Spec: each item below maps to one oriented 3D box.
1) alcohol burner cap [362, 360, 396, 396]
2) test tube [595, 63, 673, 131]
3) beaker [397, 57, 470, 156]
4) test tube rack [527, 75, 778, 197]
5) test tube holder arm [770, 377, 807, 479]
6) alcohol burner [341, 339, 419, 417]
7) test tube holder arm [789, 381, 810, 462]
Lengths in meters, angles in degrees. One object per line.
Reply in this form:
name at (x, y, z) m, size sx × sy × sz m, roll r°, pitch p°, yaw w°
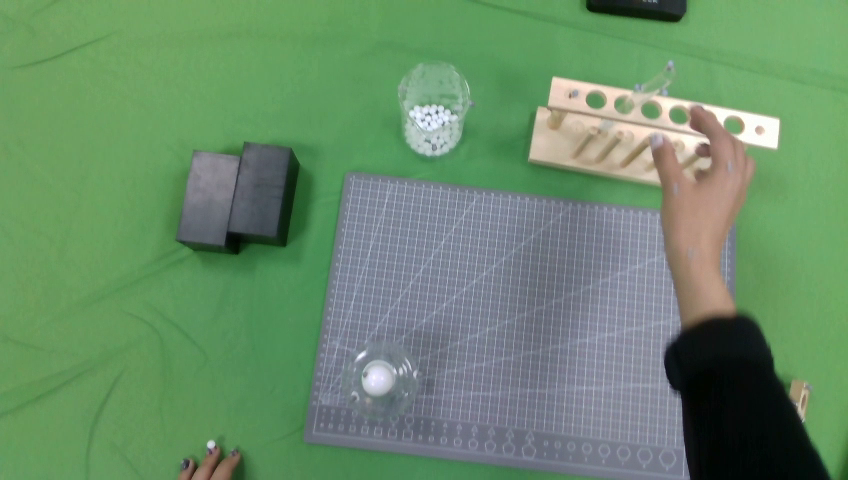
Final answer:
alcohol burner cap at (-0.043, 0.129, 0.558) m, size 0.034 × 0.048 × 0.034 m, roll 0°, pitch 84°, yaw -1°
test tube at (0.211, -0.143, 0.625) m, size 0.017 × 0.150 × 0.017 m, roll 1°, pitch 81°, yaw -7°
beaker at (0.008, -0.137, 0.661) m, size 0.074 × 0.100 × 0.083 m, roll 10°, pitch 78°, yaw 1°
test tube rack at (0.245, -0.112, 0.670) m, size 0.242 × 0.085 × 0.066 m, roll 11°, pitch 79°, yaw 1°
test tube holder arm at (0.378, 0.232, 0.637) m, size 0.013 × 0.015 × 0.178 m, roll 24°, pitch 78°, yaw -28°
alcohol burner at (-0.043, 0.135, 0.594) m, size 0.078 × 0.119 × 0.077 m, roll 1°, pitch 77°, yaw -3°
test tube holder arm at (0.397, 0.192, 0.648) m, size 0.010 × 0.015 × 0.087 m, roll 25°, pitch 78°, yaw -28°
